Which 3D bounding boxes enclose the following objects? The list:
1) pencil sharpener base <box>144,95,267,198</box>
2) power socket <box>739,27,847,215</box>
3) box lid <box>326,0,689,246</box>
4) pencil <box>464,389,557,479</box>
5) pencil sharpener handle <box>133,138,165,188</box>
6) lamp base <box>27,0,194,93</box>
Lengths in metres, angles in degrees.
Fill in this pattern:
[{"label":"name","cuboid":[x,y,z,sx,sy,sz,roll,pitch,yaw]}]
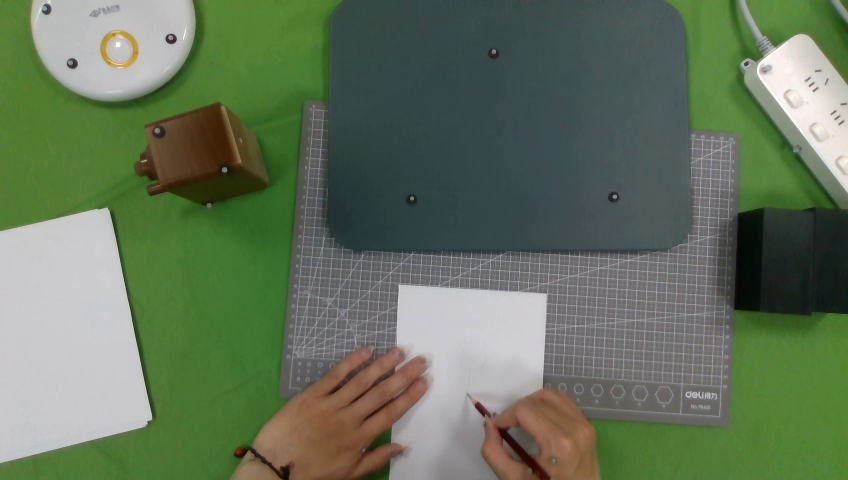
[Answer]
[{"label":"pencil sharpener base","cuboid":[-0.199,-0.081,0.559,0.077,0.107,0.061,-17,87,-2]},{"label":"power socket","cuboid":[0.415,-0.115,0.616,0.072,0.032,0.226,-36,88,-3]},{"label":"box lid","cuboid":[0.087,-0.125,0.617,0.372,0.015,0.262,0,87,-2]},{"label":"pencil","cuboid":[0.087,0.183,0.525,0.012,0.192,0.012,-13,118,-26]},{"label":"pencil sharpener handle","cuboid":[-0.247,-0.064,0.544,0.030,0.068,0.036,-17,75,-2]},{"label":"lamp base","cuboid":[-0.315,-0.241,0.527,0.160,0.180,0.179,-27,85,-3]}]
